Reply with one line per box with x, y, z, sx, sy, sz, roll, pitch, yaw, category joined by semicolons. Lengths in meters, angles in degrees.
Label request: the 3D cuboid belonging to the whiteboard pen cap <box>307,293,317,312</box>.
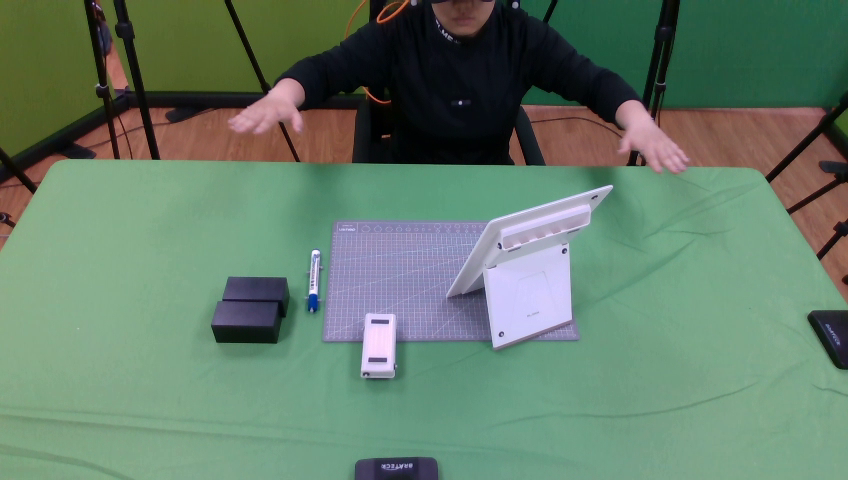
-0.199;0.110;1.078;0.018;0.018;0.033;-1;48;-5;whiteboard pen cap

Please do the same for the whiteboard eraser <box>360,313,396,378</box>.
-0.075;0.176;1.006;0.055;0.042;0.112;3;50;-4;whiteboard eraser

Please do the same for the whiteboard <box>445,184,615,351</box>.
0.186;0.065;0.989;0.217;0.306;0.143;-15;68;-18;whiteboard

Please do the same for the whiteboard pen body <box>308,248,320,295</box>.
-0.204;0.069;1.119;0.017;0.017;0.140;-1;46;-5;whiteboard pen body
